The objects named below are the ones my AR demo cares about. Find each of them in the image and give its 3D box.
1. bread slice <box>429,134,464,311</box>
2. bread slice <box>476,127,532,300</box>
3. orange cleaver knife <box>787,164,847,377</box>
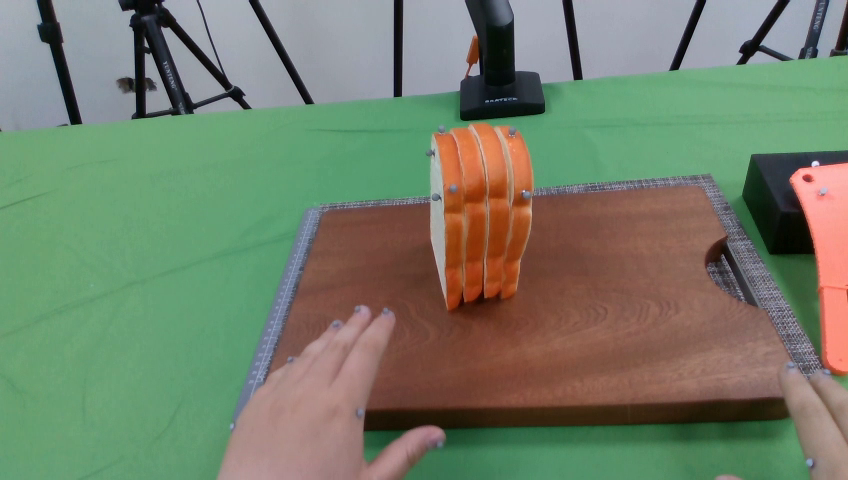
[{"bbox_3d":[0.019,-0.023,0.527,0.018,0.135,0.106,-6,35,-4],"label":"bread slice"},{"bbox_3d":[0.069,-0.029,0.526,0.019,0.132,0.103,-3,40,-8],"label":"bread slice"},{"bbox_3d":[0.353,0.016,0.504,0.077,0.012,0.210,7,59,12],"label":"orange cleaver knife"}]
